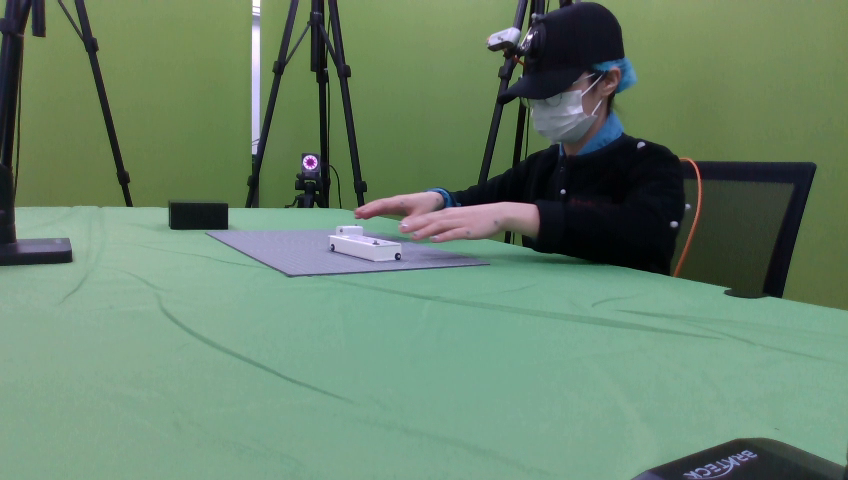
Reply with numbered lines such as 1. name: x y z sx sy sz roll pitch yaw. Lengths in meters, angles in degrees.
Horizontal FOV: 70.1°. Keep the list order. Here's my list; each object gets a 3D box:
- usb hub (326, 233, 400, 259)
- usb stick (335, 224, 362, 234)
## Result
1. usb hub: -0.092 0.008 0.892 0.050 0.025 0.124 -4 9 -40
2. usb stick: -0.135 -0.013 1.040 0.021 0.027 0.059 10 13 42
